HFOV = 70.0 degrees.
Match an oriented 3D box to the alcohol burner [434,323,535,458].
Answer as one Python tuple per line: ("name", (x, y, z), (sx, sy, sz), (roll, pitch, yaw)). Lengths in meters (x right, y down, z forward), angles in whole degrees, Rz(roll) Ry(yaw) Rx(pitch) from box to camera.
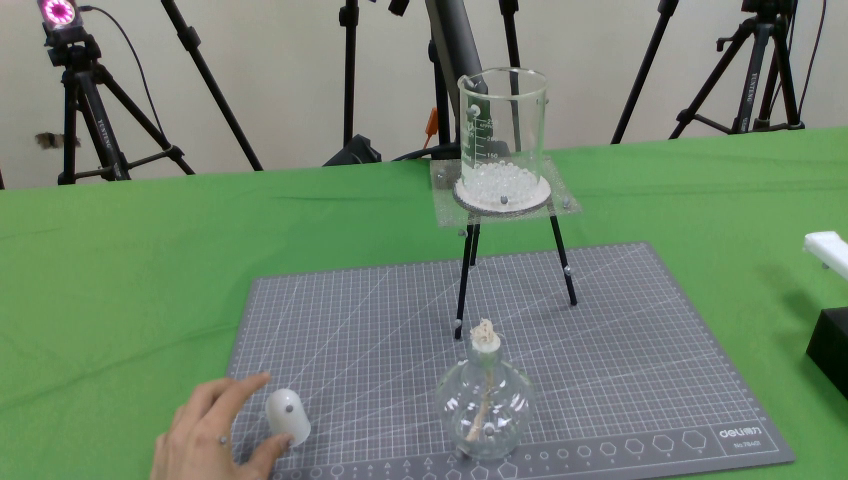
("alcohol burner", (0.045, 0.106, 0.453), (0.078, 0.120, 0.077), (-2, 36, 2))

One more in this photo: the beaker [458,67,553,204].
("beaker", (0.065, -0.089, 0.518), (0.074, 0.101, 0.083), (-25, 39, -30))

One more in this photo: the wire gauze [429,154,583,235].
("wire gauze", (0.068, -0.048, 0.545), (0.121, 0.011, 0.124), (-5, 36, -1))

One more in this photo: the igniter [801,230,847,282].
("igniter", (0.395, 0.066, 0.475), (0.057, 0.025, 0.274), (-7, 30, -2))

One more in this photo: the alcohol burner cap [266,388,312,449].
("alcohol burner cap", (-0.110, 0.139, 0.485), (0.034, 0.048, 0.033), (-3, 35, 3))

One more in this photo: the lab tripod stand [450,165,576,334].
("lab tripod stand", (0.077, 0.005, 0.584), (0.148, 0.132, 0.147), (-2, 32, 1))
